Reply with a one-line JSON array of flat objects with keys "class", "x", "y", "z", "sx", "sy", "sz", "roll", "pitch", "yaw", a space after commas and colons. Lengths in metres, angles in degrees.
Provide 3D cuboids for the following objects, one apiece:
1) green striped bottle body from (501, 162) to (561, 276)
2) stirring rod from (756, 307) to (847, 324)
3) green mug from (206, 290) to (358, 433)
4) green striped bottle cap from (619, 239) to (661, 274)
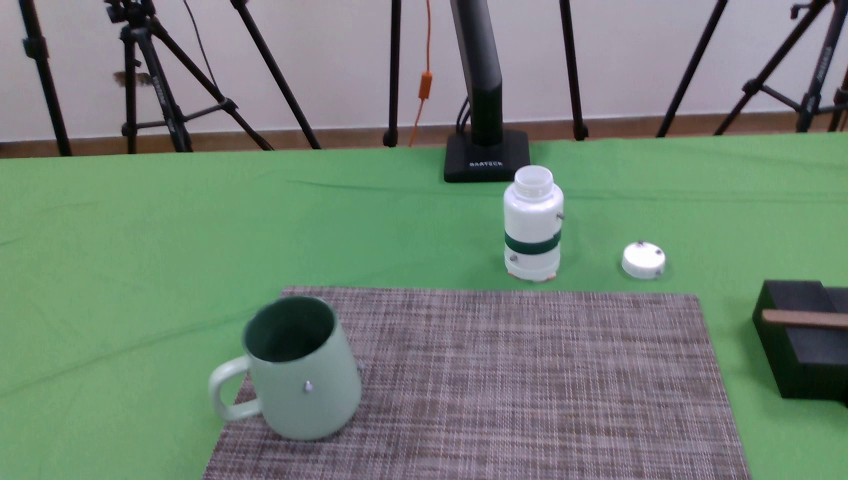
[{"class": "green striped bottle body", "x": 0.115, "y": -0.024, "z": 0.657, "sx": 0.063, "sy": 0.120, "sz": 0.062, "roll": -4, "pitch": 40, "yaw": 3}, {"class": "stirring rod", "x": 0.383, "y": 0.068, "z": 0.524, "sx": 0.176, "sy": 0.006, "sz": 0.014, "roll": 2, "pitch": 42, "yaw": 10}, {"class": "green mug", "x": -0.125, "y": 0.113, "z": 0.528, "sx": 0.125, "sy": 0.106, "sz": 0.091, "roll": -21, "pitch": 42, "yaw": -17}, {"class": "green striped bottle cap", "x": 0.239, "y": 0.019, "z": 0.671, "sx": 0.044, "sy": 0.020, "sz": 0.044, "roll": -3, "pitch": 36, "yaw": 3}]
